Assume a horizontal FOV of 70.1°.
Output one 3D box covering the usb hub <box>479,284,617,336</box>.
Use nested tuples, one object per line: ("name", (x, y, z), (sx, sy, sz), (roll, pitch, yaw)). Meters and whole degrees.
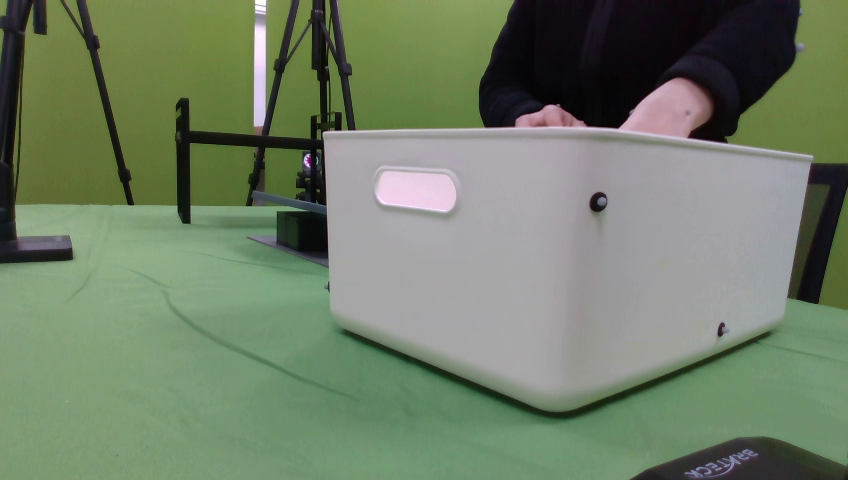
("usb hub", (0.109, 0.059, 0.525), (0.126, 0.025, 0.049), (-3, 9, -37))

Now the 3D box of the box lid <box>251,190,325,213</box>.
("box lid", (-0.066, -0.028, 0.971), (0.374, 0.015, 0.262), (11, 2, -34))

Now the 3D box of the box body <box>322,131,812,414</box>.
("box body", (0.124, -0.001, 0.510), (0.366, 0.160, 0.253), (-4, 10, -42))
